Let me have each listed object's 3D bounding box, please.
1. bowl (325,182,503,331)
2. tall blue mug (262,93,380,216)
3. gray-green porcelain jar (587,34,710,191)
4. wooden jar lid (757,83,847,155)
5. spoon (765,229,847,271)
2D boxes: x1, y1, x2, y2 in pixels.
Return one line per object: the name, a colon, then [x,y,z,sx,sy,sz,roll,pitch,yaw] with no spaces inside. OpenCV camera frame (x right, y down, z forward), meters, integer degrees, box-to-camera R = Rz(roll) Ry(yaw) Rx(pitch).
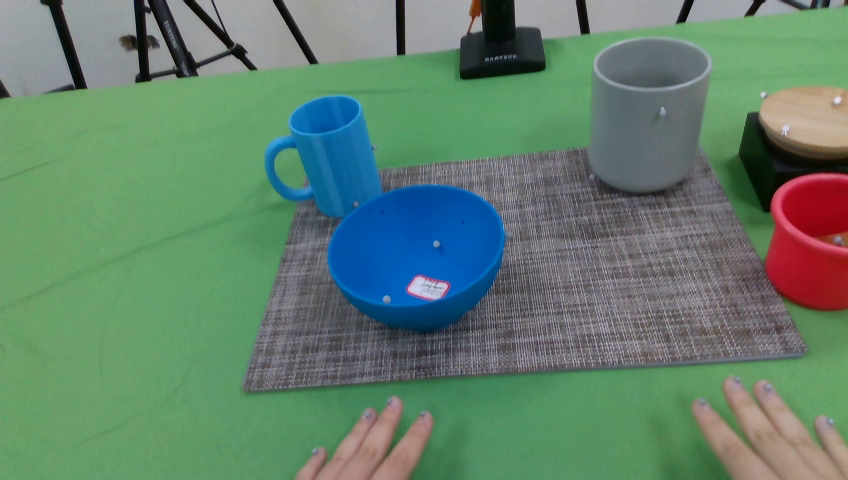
bowl: [-0.003,0.026,0.527,0.151,0.077,0.150,-6,43,6]
tall blue mug: [-0.106,-0.082,0.641,0.107,0.109,0.077,-37,49,-25]
gray-green porcelain jar: [0.217,-0.121,0.602,0.106,0.128,0.105,-6,43,6]
wooden jar lid: [0.372,-0.114,0.571,0.108,0.021,0.107,-7,42,6]
spoon: [0.354,-0.014,0.451,0.022,0.193,0.041,46,51,-9]
